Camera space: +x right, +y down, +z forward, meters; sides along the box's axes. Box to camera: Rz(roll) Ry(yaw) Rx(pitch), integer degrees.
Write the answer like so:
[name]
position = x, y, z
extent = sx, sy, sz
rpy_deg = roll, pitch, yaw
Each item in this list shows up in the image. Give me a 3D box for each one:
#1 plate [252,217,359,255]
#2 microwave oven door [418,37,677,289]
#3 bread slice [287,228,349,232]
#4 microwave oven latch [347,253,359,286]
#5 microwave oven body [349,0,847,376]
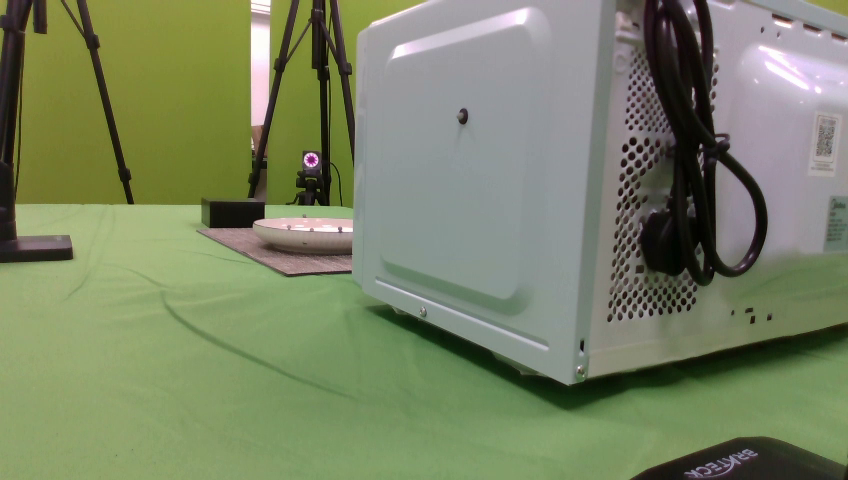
[plate]
position = -0.155, -0.007, 0.924
extent = 0.209, 0.038, 0.209
rpy_deg = 3, 7, 0
[microwave oven door]
position = 0.159, -0.079, 0.684
extent = 0.358, 0.243, 0.039
rpy_deg = -2, 9, -32
[bread slice]
position = -0.153, -0.005, 0.921
extent = 0.132, 0.019, 0.104
rpy_deg = 0, 7, -30
[microwave oven latch]
position = -0.034, 0.028, 0.581
extent = 0.079, 0.029, 0.030
rpy_deg = -1, 7, -31
[microwave oven body]
position = 0.199, -0.053, 0.540
extent = 0.444, 0.260, 0.324
rpy_deg = -1, 8, -32
